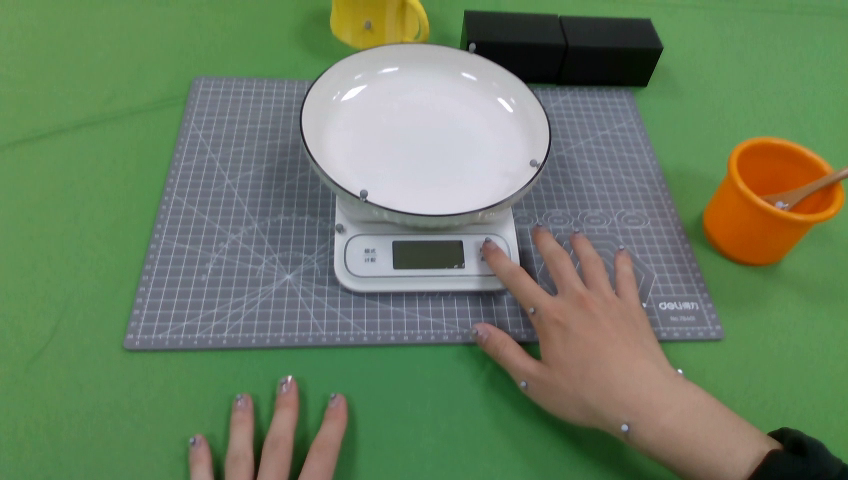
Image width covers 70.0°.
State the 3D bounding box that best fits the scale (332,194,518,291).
[{"bbox_3d":[-0.002,-0.047,0.521,0.149,0.032,0.199,-1,54,-5],"label":"scale"}]

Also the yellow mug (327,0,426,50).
[{"bbox_3d":[-0.046,-0.253,0.653,0.130,0.064,0.100,39,60,21],"label":"yellow mug"}]

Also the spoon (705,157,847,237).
[{"bbox_3d":[0.325,-0.052,0.486,0.022,0.193,0.041,28,44,-42],"label":"spoon"}]

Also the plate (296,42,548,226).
[{"bbox_3d":[-0.002,-0.090,0.512,0.209,0.038,0.207,3,53,-4],"label":"plate"}]
